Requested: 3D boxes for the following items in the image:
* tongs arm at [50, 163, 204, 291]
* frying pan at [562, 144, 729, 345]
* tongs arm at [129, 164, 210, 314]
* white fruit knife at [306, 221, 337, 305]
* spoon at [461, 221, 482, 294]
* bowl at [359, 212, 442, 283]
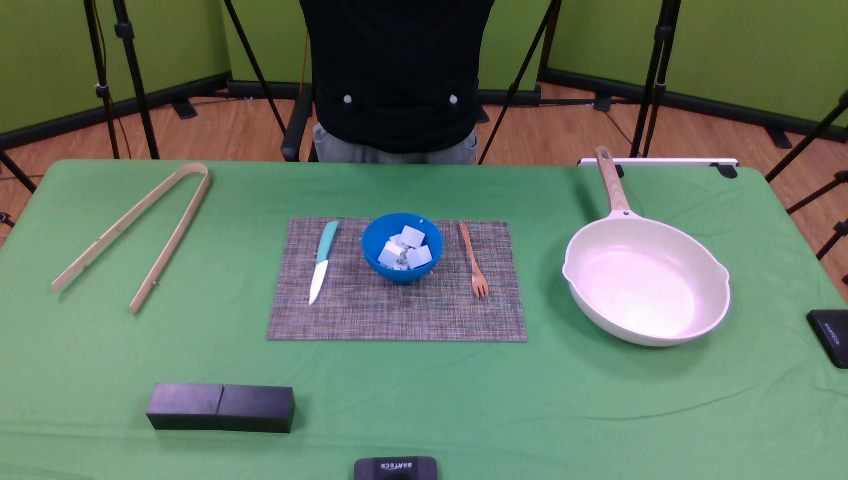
[{"bbox_3d":[-0.561,-0.036,1.178,0.050,0.026,0.383,17,46,10],"label":"tongs arm"},{"bbox_3d":[0.396,-0.008,1.179,0.307,0.103,0.484,1,55,-4],"label":"frying pan"},{"bbox_3d":[-0.483,-0.016,1.170,0.028,0.028,0.385,5,46,4],"label":"tongs arm"},{"bbox_3d":[-0.196,0.040,1.143,0.027,0.016,0.206,-1,46,8],"label":"white fruit knife"},{"bbox_3d":[0.086,0.031,1.169,0.042,0.022,0.192,12,47,-14],"label":"spoon"},{"bbox_3d":[-0.044,0.026,1.125,0.151,0.077,0.150,2,46,-2],"label":"bowl"}]
